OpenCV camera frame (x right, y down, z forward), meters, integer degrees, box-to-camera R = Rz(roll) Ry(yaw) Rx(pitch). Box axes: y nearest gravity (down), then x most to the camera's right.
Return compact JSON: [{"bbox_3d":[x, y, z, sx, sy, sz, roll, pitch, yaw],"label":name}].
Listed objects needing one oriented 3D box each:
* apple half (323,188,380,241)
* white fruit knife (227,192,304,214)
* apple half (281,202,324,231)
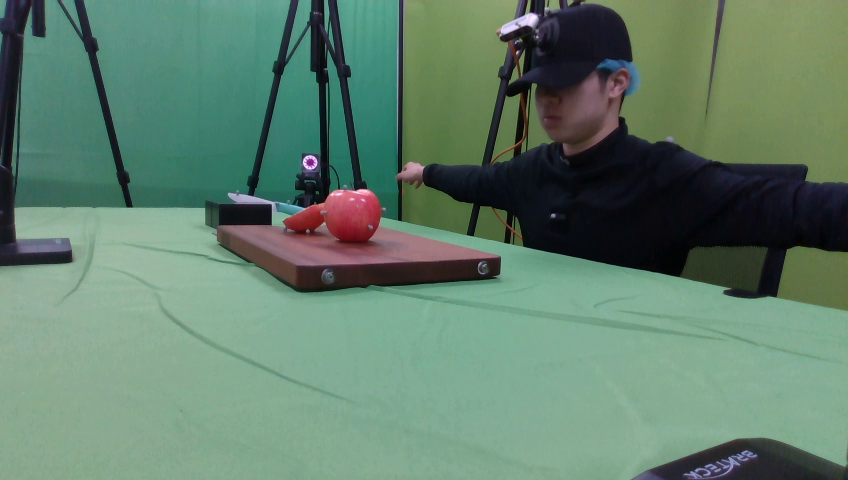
[{"bbox_3d":[-0.094,-0.034,0.840,0.081,0.074,0.053,1,10,-38],"label":"apple half"},{"bbox_3d":[-0.302,-0.069,1.242,0.208,0.027,0.016,14,3,-37],"label":"white fruit knife"},{"bbox_3d":[-0.175,-0.033,0.927,0.081,0.033,0.081,-21,0,1],"label":"apple half"}]
